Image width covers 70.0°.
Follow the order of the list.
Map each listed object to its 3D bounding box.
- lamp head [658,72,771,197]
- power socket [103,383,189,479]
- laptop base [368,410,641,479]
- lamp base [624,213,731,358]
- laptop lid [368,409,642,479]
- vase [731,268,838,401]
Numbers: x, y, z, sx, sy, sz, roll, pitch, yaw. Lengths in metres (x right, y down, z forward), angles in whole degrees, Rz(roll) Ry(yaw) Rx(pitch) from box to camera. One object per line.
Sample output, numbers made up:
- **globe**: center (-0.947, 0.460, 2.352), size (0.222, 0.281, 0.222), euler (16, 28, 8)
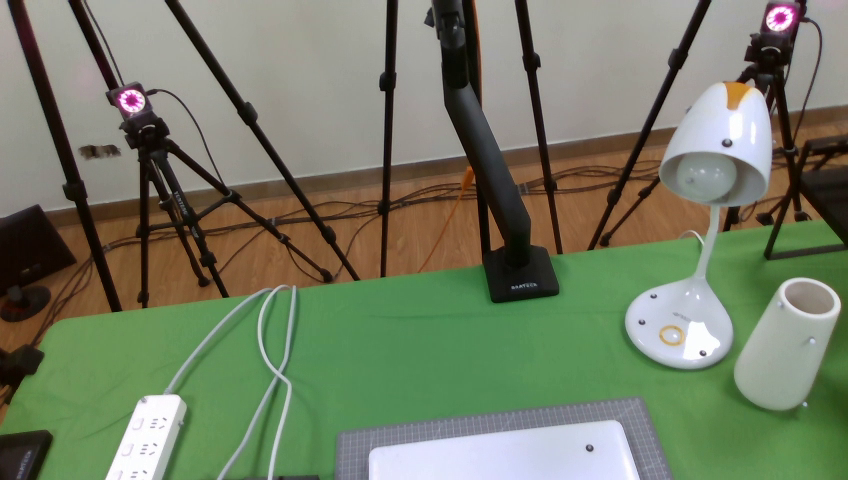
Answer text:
- **lamp head**: center (0.332, -0.122, 0.677), size (0.112, 0.113, 0.122), euler (15, 66, 23)
- **power socket**: center (-0.407, 0.305, 0.878), size (0.072, 0.033, 0.224), euler (-2, 43, 5)
- **laptop base**: center (0.106, 0.344, 0.775), size (0.354, 0.023, 0.233), euler (-7, 47, 1)
- **lamp base**: center (0.399, 0.057, 0.917), size (0.159, 0.182, 0.178), euler (18, 47, 25)
- **laptop lid**: center (0.104, 0.338, 0.765), size (0.357, 0.013, 0.239), euler (-6, 46, 2)
- **vase**: center (0.483, 0.129, 0.815), size (0.098, 0.202, 0.097), euler (-5, 42, 5)
